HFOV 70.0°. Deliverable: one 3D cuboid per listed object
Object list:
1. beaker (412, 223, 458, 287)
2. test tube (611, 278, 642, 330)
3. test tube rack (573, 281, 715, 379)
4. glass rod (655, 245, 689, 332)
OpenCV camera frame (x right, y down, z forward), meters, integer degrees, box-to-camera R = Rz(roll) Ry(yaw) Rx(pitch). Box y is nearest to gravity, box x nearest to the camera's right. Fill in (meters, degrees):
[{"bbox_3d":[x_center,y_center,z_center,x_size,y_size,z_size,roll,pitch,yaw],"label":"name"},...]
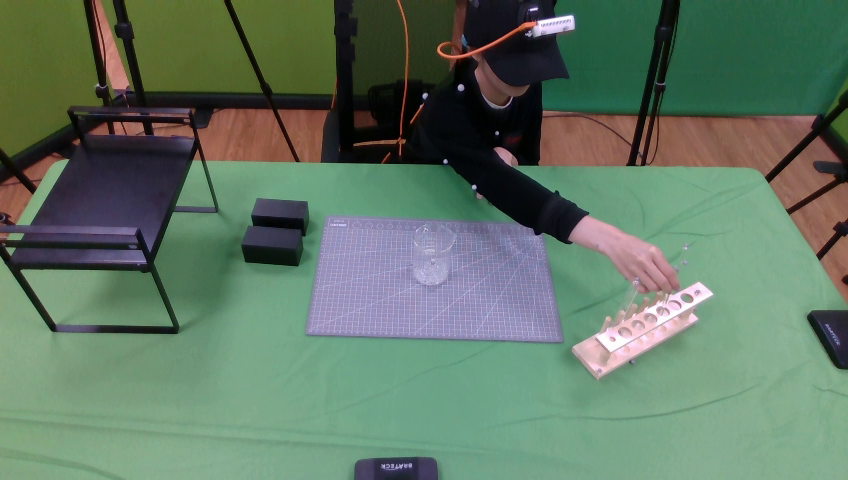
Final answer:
[{"bbox_3d":[0.018,0.030,1.109,0.084,0.101,0.073,-10,48,-14],"label":"beaker"},{"bbox_3d":[0.332,0.113,0.999,0.017,0.151,0.017,1,48,-1],"label":"test tube"},{"bbox_3d":[0.378,0.140,1.038,0.242,0.085,0.066,-22,51,-23],"label":"test tube rack"},{"bbox_3d":[0.402,0.084,0.985,0.008,0.201,0.008,-1,41,1],"label":"glass rod"}]
